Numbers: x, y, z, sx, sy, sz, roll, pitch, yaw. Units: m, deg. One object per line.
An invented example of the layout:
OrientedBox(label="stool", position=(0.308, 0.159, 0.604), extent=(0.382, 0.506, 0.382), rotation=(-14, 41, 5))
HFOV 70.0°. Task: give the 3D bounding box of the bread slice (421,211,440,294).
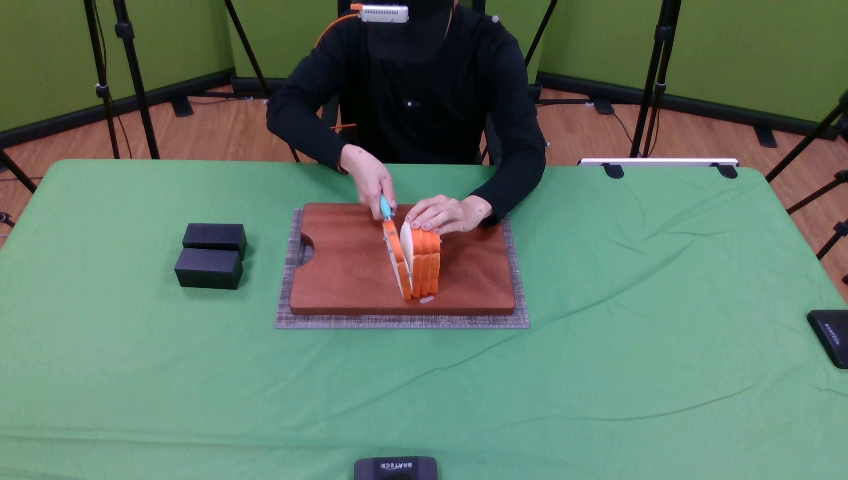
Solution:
OrientedBox(label="bread slice", position=(0.011, 0.017, 1.067), extent=(0.018, 0.135, 0.106), rotation=(0, 49, -7))

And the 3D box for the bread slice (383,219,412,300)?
OrientedBox(label="bread slice", position=(-0.048, 0.028, 1.053), extent=(0.019, 0.132, 0.104), rotation=(-16, 48, -6))

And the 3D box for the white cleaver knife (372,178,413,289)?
OrientedBox(label="white cleaver knife", position=(-0.061, -0.019, 1.125), extent=(0.021, 0.066, 0.284), rotation=(-13, 43, -7))
